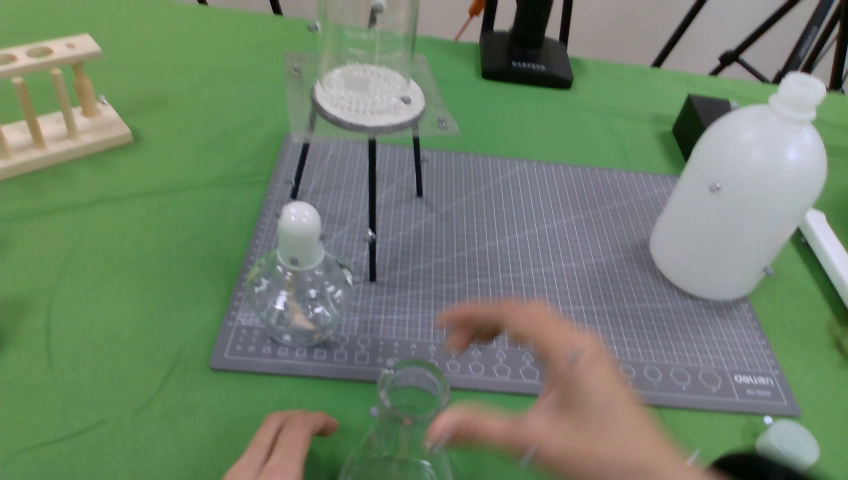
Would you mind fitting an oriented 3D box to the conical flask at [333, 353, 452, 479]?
[{"bbox_3d":[-0.014,0.114,0.347,0.075,0.123,0.074,5,44,-5],"label":"conical flask"}]

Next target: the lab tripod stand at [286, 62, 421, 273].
[{"bbox_3d":[-0.052,-0.067,0.513,0.149,0.132,0.147,7,45,-6],"label":"lab tripod stand"}]

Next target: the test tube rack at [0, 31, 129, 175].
[{"bbox_3d":[-0.401,-0.105,0.527,0.242,0.086,0.066,-26,54,-32],"label":"test tube rack"}]

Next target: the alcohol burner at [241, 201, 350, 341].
[{"bbox_3d":[-0.091,0.017,0.434,0.078,0.120,0.077,7,43,-6],"label":"alcohol burner"}]

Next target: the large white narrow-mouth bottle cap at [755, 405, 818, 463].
[{"bbox_3d":[0.264,0.142,0.443,0.038,0.024,0.037,5,44,-4],"label":"large white narrow-mouth bottle cap"}]

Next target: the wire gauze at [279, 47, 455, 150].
[{"bbox_3d":[-0.048,-0.116,0.469,0.122,0.011,0.123,-5,50,-13],"label":"wire gauze"}]

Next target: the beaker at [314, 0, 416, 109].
[{"bbox_3d":[-0.046,-0.153,0.437,0.084,0.101,0.073,1,46,-9],"label":"beaker"}]

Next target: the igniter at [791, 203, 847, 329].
[{"bbox_3d":[0.393,0.062,0.543,0.057,0.025,0.274,15,43,-11],"label":"igniter"}]

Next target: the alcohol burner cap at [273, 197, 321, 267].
[{"bbox_3d":[-0.086,-0.007,0.408,0.034,0.048,0.033,4,50,-5],"label":"alcohol burner cap"}]

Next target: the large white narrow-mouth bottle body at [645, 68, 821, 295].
[{"bbox_3d":[0.265,-0.050,0.509,0.102,0.196,0.101,5,44,-4],"label":"large white narrow-mouth bottle body"}]
